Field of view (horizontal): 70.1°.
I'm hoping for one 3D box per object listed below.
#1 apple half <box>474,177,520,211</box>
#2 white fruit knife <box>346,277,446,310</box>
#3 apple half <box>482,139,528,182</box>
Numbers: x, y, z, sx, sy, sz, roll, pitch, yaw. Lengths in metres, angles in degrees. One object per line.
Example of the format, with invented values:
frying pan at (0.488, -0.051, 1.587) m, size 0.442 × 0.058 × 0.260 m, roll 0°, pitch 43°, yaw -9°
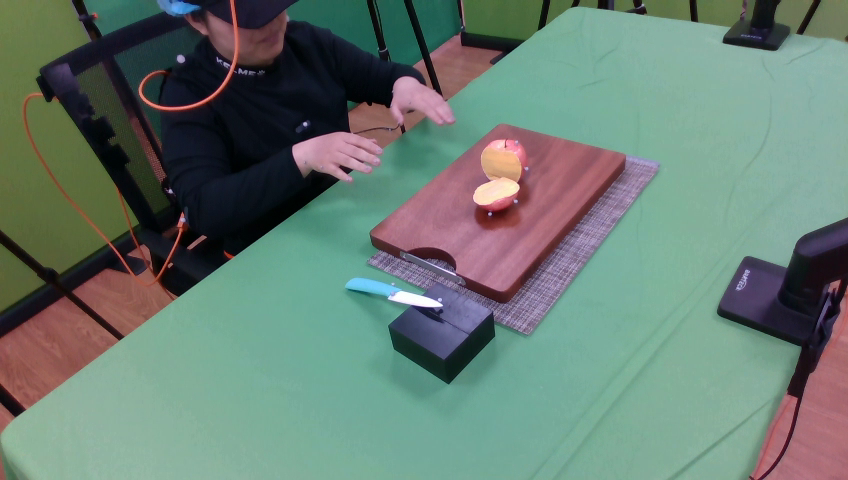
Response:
apple half at (0.123, -0.070, 0.994) m, size 0.081 × 0.033 × 0.081 m, roll -17°, pitch 29°, yaw 11°
white fruit knife at (-0.042, 0.077, 0.865) m, size 0.205 × 0.016 × 0.027 m, roll 9°, pitch 41°, yaw 46°
apple half at (0.145, -0.138, 1.039) m, size 0.080 × 0.075 × 0.053 m, roll 15°, pitch 41°, yaw 31°
